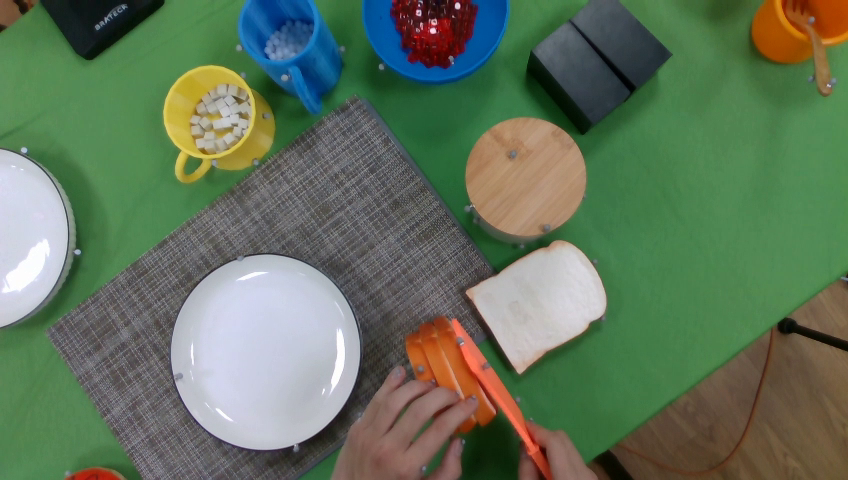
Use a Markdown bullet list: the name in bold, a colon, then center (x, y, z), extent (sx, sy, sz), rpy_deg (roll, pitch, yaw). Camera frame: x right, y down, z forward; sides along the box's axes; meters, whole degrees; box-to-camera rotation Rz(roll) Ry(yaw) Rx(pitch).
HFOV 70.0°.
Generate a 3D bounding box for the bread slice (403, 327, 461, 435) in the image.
- **bread slice**: center (0.007, 0.137, 0.603), extent (0.018, 0.134, 0.106), rpy_deg (-26, 82, -2)

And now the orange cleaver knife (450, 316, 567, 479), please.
- **orange cleaver knife**: center (0.085, 0.161, 0.580), extent (0.012, 0.076, 0.212), rpy_deg (-33, 108, 6)

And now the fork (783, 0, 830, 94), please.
- **fork**: center (0.372, -0.197, 0.587), extent (0.028, 0.019, 0.206), rpy_deg (25, 44, -1)

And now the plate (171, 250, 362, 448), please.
- **plate**: center (-0.167, 0.116, 0.658), extent (0.209, 0.038, 0.208), rpy_deg (0, 86, 4)

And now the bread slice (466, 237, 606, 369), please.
- **bread slice**: center (0.127, 0.062, 0.654), extent (0.131, 0.019, 0.104), rpy_deg (-32, 83, 8)

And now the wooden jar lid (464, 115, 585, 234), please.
- **wooden jar lid**: center (0.090, -0.058, 0.548), extent (0.108, 0.021, 0.108), rpy_deg (0, 86, 2)

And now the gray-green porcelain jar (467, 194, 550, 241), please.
- **gray-green porcelain jar**: center (0.096, -0.054, 0.610), extent (0.106, 0.127, 0.105), rpy_deg (0, 86, 4)

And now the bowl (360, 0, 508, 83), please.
- **bowl**: center (0.013, -0.233, 0.650), extent (0.151, 0.077, 0.151), rpy_deg (0, 87, 4)

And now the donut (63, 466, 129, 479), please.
- **donut**: center (-0.359, 0.297, 0.661), extent (0.099, 0.048, 0.099), rpy_deg (0, 85, 2)

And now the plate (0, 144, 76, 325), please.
- **plate**: center (-0.493, -0.005, 0.691), extent (0.207, 0.039, 0.207), rpy_deg (0, 87, 4)

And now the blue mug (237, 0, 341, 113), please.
- **blue mug**: center (-0.135, -0.193, 0.645), extent (0.082, 0.106, 0.116), rpy_deg (-17, 85, 3)

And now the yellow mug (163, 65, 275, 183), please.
- **yellow mug**: center (-0.232, -0.119, 0.666), extent (0.100, 0.064, 0.131), rpy_deg (31, 90, 6)
